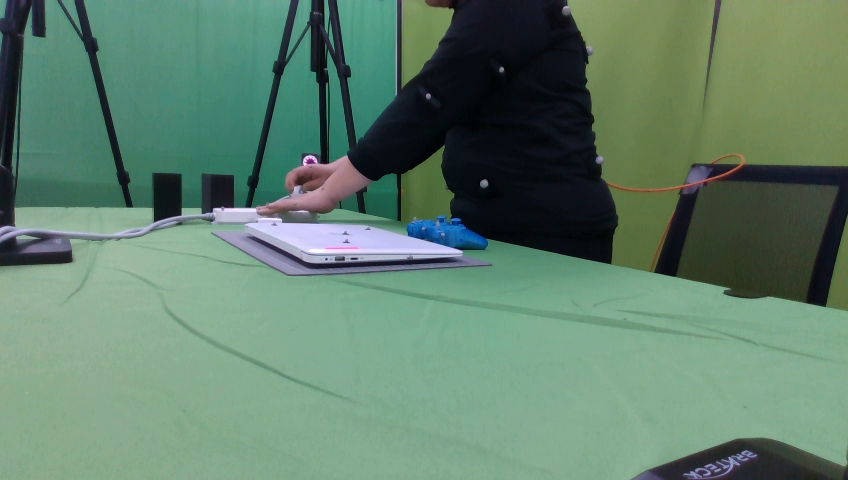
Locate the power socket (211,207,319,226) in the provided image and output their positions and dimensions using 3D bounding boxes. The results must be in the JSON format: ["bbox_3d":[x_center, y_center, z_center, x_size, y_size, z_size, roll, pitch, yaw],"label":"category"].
[{"bbox_3d":[-0.334,-0.051,1.281,0.228,0.032,0.072,-1,10,-29],"label":"power socket"}]

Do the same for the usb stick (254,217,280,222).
[{"bbox_3d":[-0.296,-0.028,1.114,0.059,0.027,0.021,-5,12,-30],"label":"usb stick"}]

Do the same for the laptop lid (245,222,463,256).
[{"bbox_3d":[-0.126,-0.005,0.951,0.243,0.013,0.355,1,7,-28],"label":"laptop lid"}]

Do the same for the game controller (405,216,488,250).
[{"bbox_3d":[0.035,-0.013,1.067,0.097,0.051,0.154,-6,10,-29],"label":"game controller"}]

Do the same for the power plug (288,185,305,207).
[{"bbox_3d":[-0.281,-0.098,1.364,0.035,0.052,0.073,3,-2,10],"label":"power plug"}]

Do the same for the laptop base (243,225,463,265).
[{"bbox_3d":[-0.128,0.007,0.951,0.237,0.023,0.352,2,6,-30],"label":"laptop base"}]
